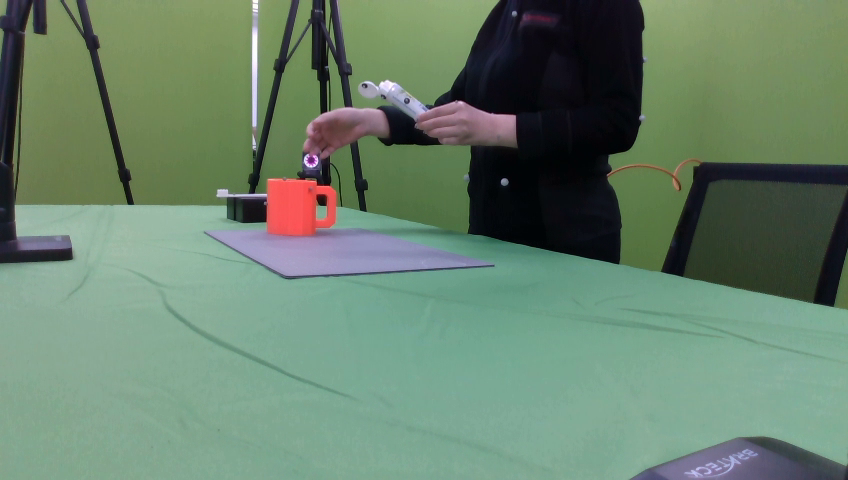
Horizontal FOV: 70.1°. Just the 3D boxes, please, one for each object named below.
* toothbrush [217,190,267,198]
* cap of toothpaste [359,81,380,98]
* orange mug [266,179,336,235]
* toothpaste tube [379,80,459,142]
[{"bbox_3d":[-0.343,-0.096,1.282,0.183,0.016,0.014,-1,4,-27],"label":"toothbrush"},{"bbox_3d":[-0.092,-0.260,1.036,0.037,0.011,0.037,7,-34,5],"label":"cap of toothpaste"},{"bbox_3d":[-0.222,-0.062,1.094,0.127,0.101,0.083,-5,10,-22],"label":"orange mug"},{"bbox_3d":[-0.010,-0.224,1.052,0.165,0.034,0.055,34,30,-2],"label":"toothpaste tube"}]
